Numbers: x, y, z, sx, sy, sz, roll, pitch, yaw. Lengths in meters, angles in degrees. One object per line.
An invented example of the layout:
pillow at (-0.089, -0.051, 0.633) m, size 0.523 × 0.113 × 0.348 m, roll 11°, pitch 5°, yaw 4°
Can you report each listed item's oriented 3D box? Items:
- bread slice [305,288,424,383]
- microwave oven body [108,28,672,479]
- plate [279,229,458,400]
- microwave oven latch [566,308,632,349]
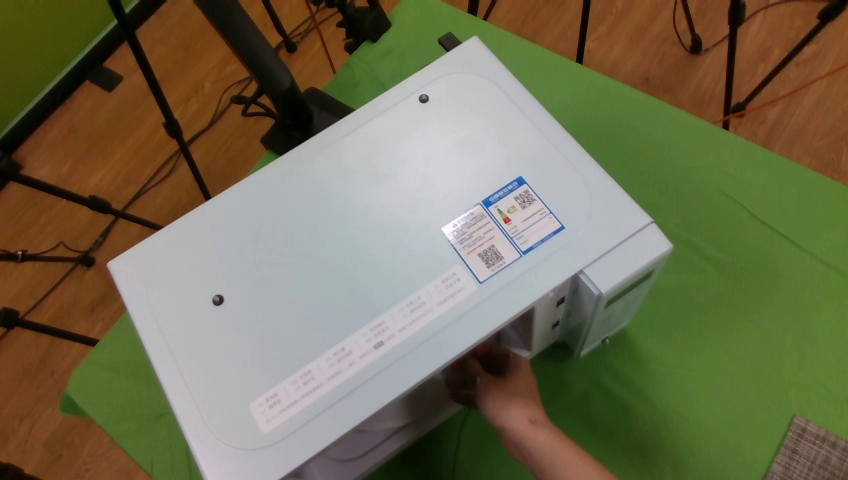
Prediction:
bread slice at (-0.071, 0.111, 0.713) m, size 0.134 × 0.018 × 0.106 m, roll 5°, pitch 64°, yaw -1°
microwave oven body at (-0.034, 0.046, 0.665) m, size 0.442 × 0.262 × 0.323 m, roll -34°, pitch 67°, yaw -6°
plate at (-0.064, 0.087, 0.715) m, size 0.207 × 0.039 × 0.206 m, roll -1°, pitch 65°, yaw 2°
microwave oven latch at (0.207, 0.095, 0.715) m, size 0.079 × 0.030 × 0.030 m, roll -32°, pitch 67°, yaw -5°
